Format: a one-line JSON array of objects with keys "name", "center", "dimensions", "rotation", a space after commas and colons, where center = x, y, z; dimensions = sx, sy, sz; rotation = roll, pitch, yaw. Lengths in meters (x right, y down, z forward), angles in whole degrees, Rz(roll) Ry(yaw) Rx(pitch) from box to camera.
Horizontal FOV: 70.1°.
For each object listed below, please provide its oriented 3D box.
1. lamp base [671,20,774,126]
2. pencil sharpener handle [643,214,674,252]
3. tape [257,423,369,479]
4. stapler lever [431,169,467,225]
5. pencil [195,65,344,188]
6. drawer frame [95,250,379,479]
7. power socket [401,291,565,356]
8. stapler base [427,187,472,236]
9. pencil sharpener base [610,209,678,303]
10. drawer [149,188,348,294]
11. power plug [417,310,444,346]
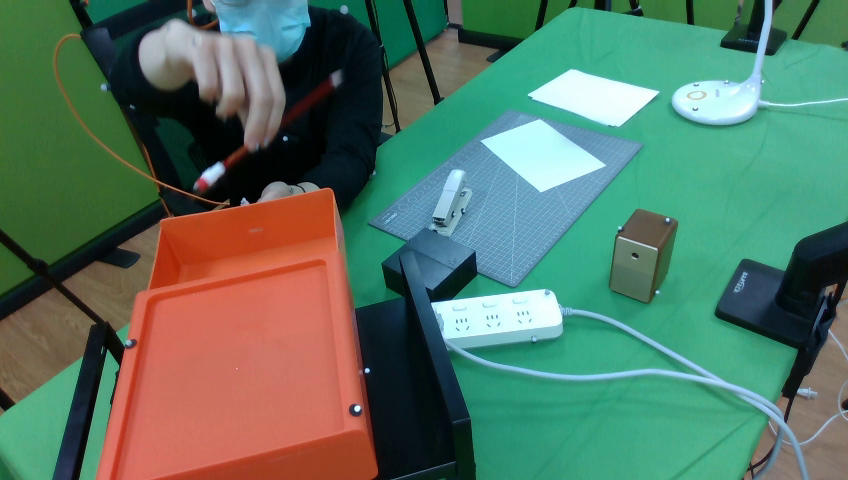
[{"name": "lamp base", "center": [0.581, -0.332, 1.154], "dimensions": [0.179, 0.181, 0.160], "rotation": [2, 42, 7]}, {"name": "pencil sharpener handle", "center": [0.338, -0.016, 0.857], "dimensions": [0.035, 0.068, 0.031], "rotation": [1, 35, 44]}, {"name": "tape", "center": [-0.121, 0.263, 0.660], "dimensions": [0.117, 0.053, 0.116], "rotation": [-5, 39, 4]}, {"name": "stapler lever", "center": [0.043, -0.074, 1.010], "dimensions": [0.026, 0.040, 0.118], "rotation": [9, 44, 21]}, {"name": "pencil", "center": [-0.146, -0.116, 0.593], "dimensions": [0.012, 0.012, 0.194], "rotation": [29, 65, 35]}, {"name": "drawer frame", "center": [-0.155, 0.119, 0.531], "dimensions": [0.202, 0.083, 0.212], "rotation": [-12, 41, -6]}, {"name": "power socket", "center": [0.080, 0.112, 0.822], "dimensions": [0.227, 0.033, 0.072], "rotation": [-6, 41, 0]}, {"name": "stapler base", "center": [0.045, -0.057, 1.028], "dimensions": [0.041, 0.024, 0.130], "rotation": [9, 44, 20]}, {"name": "pencil sharpener base", "center": [0.304, 0.021, 0.839], "dimensions": [0.061, 0.107, 0.077], "rotation": [21, 48, 30]}, {"name": "drawer", "center": [-0.177, 0.049, 0.622], "dimensions": [0.195, 0.073, 0.210], "rotation": [-11, 41, -5]}, {"name": "power plug", "center": [0.006, 0.122, 0.785], "dimensions": [0.035, 0.053, 0.072], "rotation": [0, 40, 9]}]
